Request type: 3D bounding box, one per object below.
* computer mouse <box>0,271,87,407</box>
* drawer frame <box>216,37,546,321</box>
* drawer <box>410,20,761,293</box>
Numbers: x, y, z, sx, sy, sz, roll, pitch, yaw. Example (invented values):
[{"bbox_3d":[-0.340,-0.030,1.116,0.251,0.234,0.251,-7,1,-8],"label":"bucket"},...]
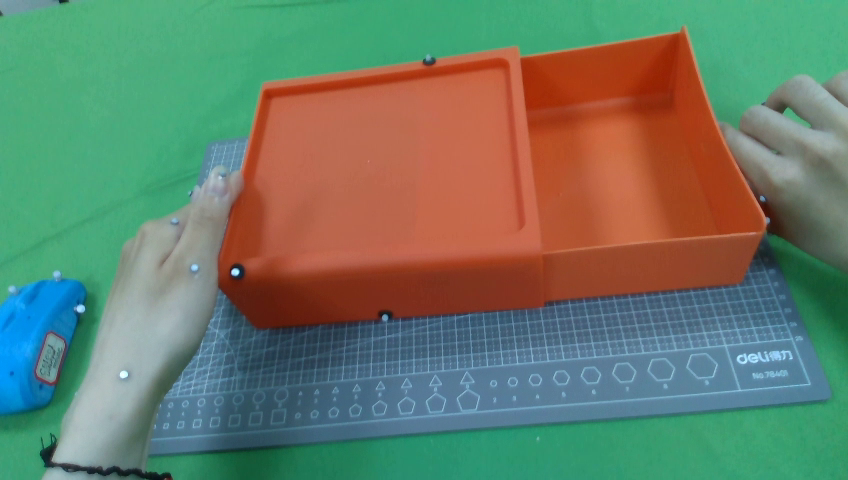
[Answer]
[{"bbox_3d":[-0.309,0.071,0.465,0.063,0.041,0.116,-7,50,9],"label":"computer mouse"},{"bbox_3d":[-0.022,-0.047,0.454,0.213,0.083,0.199,-6,55,9],"label":"drawer frame"},{"bbox_3d":[0.100,-0.060,0.439,0.211,0.074,0.192,-5,55,8],"label":"drawer"}]
